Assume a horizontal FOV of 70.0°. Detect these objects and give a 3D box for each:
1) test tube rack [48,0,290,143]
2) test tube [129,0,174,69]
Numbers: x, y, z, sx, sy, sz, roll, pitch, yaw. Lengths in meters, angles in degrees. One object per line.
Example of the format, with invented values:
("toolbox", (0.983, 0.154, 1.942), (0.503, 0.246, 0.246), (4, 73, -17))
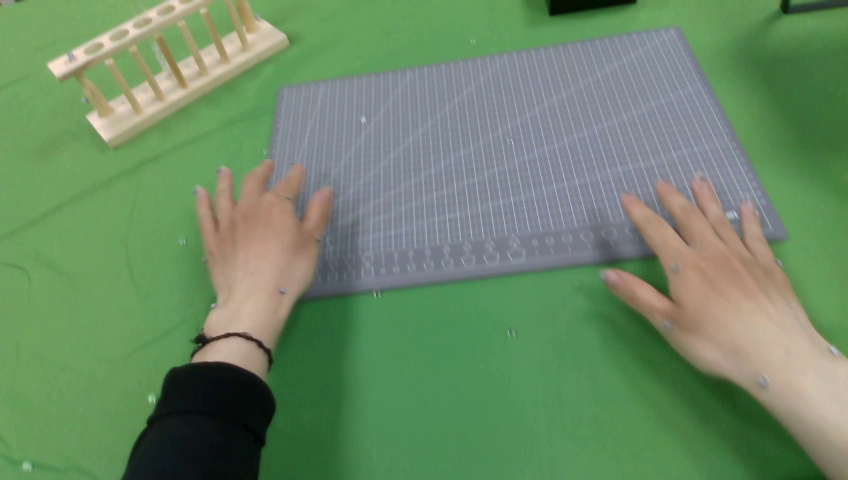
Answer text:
("test tube rack", (-0.284, -0.221, 0.699), (0.242, 0.086, 0.066), (-38, 56, -18))
("test tube", (-0.311, -0.256, 0.666), (0.017, 0.152, 0.017), (-6, 47, 6))
